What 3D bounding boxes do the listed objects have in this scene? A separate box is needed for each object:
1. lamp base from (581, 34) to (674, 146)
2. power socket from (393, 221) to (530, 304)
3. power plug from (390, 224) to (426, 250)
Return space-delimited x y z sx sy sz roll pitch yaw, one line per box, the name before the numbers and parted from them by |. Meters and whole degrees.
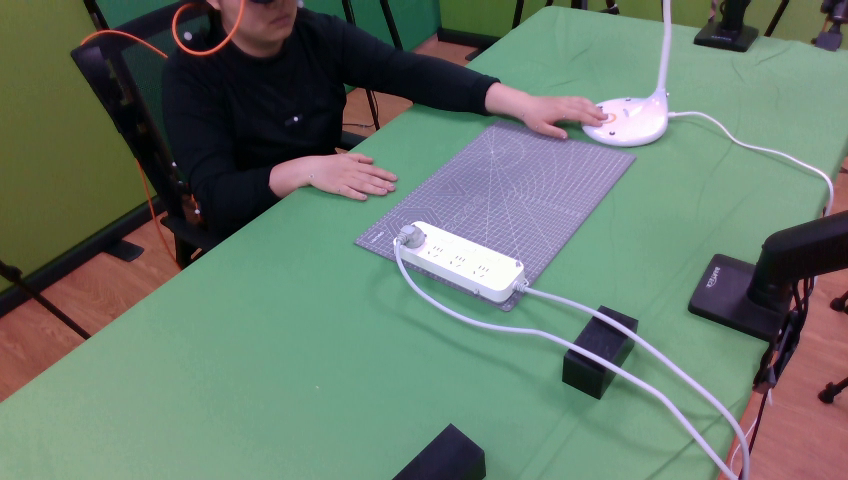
lamp base | 0.392 -0.291 1.129 0.180 0.181 0.159 -11 41 -8
power socket | 0.049 0.030 0.914 0.225 0.033 0.072 24 51 31
power plug | -0.030 0.004 0.920 0.073 0.053 0.035 -33 47 -26
